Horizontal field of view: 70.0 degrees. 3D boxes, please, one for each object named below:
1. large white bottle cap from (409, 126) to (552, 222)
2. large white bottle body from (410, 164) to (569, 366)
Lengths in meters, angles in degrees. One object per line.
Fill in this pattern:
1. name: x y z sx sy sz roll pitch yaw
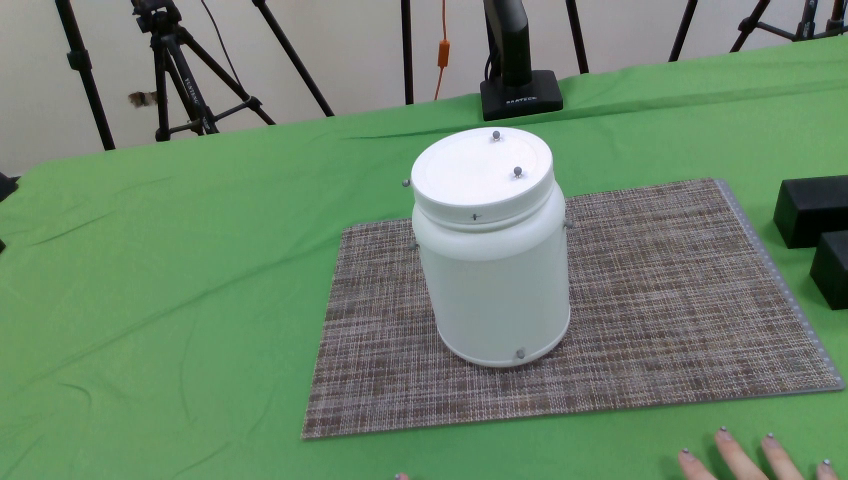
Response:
1. large white bottle cap: 0.044 -0.056 0.487 0.115 0.018 0.113 -8 39 7
2. large white bottle body: 0.061 0.008 0.541 0.130 0.186 0.129 -8 39 7
